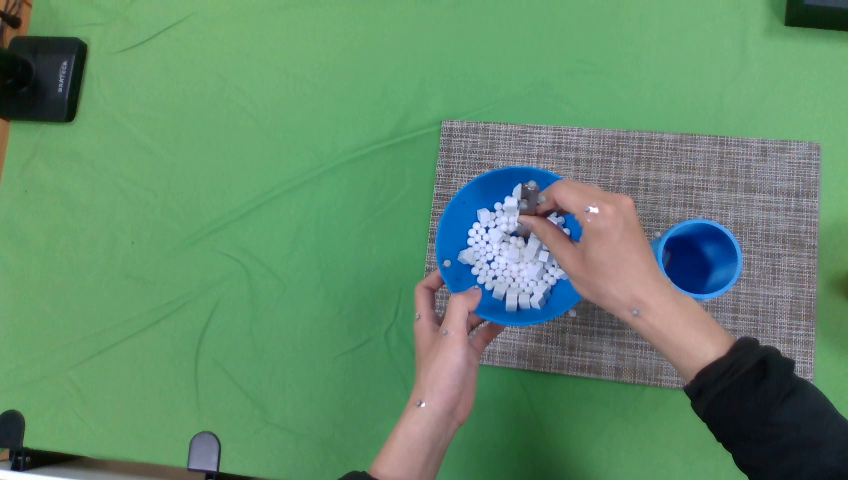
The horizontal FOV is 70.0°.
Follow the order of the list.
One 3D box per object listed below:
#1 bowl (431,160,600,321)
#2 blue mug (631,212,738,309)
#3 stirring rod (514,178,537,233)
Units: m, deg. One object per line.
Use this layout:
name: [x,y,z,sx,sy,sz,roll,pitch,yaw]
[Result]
bowl: [0.087,0.007,0.581,0.151,0.077,0.150,-2,77,8]
blue mug: [0.269,0.032,0.661,0.082,0.106,0.116,44,90,11]
stirring rod: [0.085,-0.026,0.517,0.014,0.177,0.006,11,81,9]
